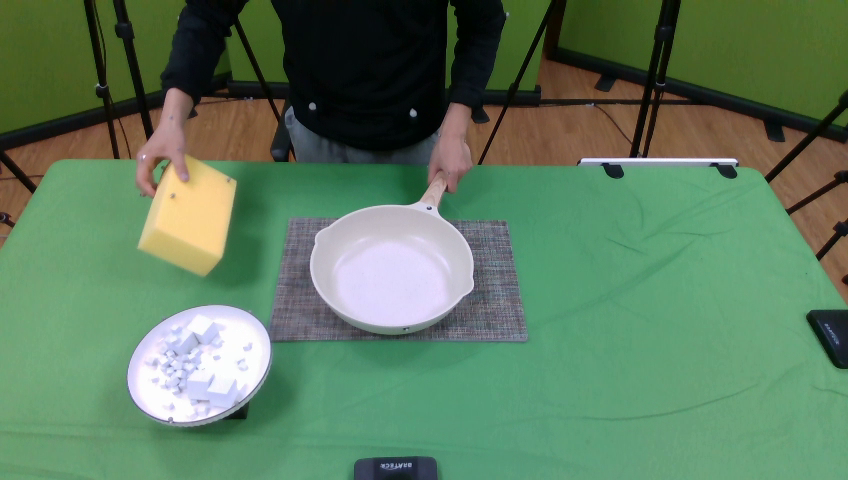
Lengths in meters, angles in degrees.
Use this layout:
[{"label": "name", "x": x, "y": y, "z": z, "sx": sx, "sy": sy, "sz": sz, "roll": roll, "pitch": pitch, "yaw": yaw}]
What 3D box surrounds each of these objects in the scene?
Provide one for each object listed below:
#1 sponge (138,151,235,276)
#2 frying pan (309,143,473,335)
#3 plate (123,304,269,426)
[{"label": "sponge", "x": -0.408, "y": -0.049, "z": 1.060, "sx": 0.119, "sy": 0.061, "sz": 0.205, "roll": 30, "pitch": 33, "yaw": -32}, {"label": "frying pan", "x": -0.018, "y": -0.022, "z": 1.155, "sx": 0.306, "sy": 0.103, "sz": 0.486, "roll": 20, "pitch": 57, "yaw": 13}, {"label": "plate", "x": -0.336, "y": 0.189, "z": 0.913, "sx": 0.208, "sy": 0.039, "sz": 0.206, "roll": 1, "pitch": 46, "yaw": -1}]
